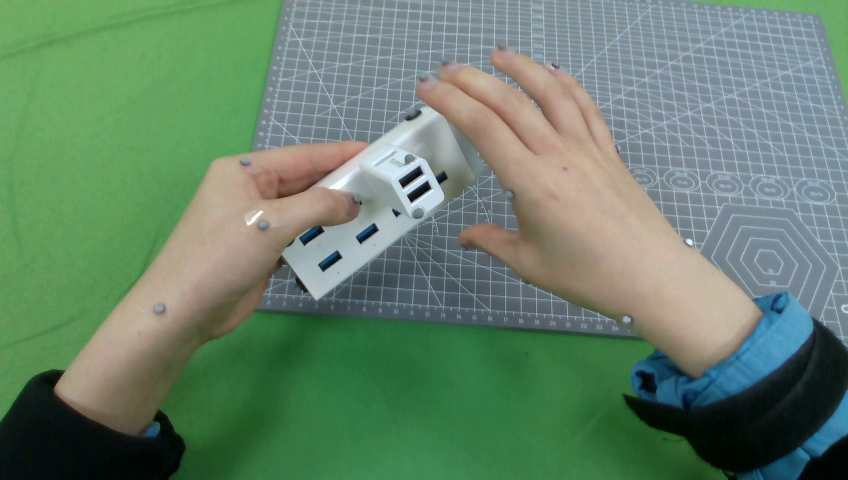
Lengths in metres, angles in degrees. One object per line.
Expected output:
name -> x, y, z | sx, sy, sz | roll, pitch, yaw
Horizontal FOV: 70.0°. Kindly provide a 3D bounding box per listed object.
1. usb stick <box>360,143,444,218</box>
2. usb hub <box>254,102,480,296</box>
usb stick -> -0.014, -0.032, 0.308 | 0.021, 0.058, 0.027 | -38, 116, -9
usb hub -> -0.028, -0.025, 0.341 | 0.125, 0.050, 0.025 | -36, 35, -15
